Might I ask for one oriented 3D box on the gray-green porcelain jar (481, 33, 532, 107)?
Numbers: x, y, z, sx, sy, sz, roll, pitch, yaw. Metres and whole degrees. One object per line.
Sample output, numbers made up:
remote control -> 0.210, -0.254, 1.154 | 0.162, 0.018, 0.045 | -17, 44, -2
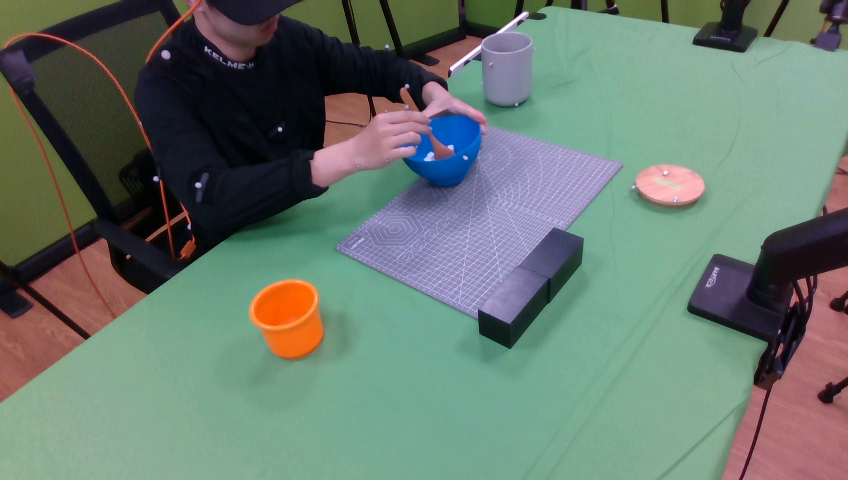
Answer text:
gray-green porcelain jar -> 0.175, -0.355, 1.278 | 0.106, 0.127, 0.105 | -4, 41, 4

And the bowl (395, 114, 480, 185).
bowl -> 0.031, -0.151, 1.073 | 0.151, 0.077, 0.150 | -10, 39, 9

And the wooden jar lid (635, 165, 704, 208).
wooden jar lid -> 0.410, -0.089, 1.014 | 0.108, 0.021, 0.108 | -5, 42, 5

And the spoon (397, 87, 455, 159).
spoon -> 0.003, -0.180, 0.999 | 0.041, 0.195, 0.021 | -36, 42, 4
